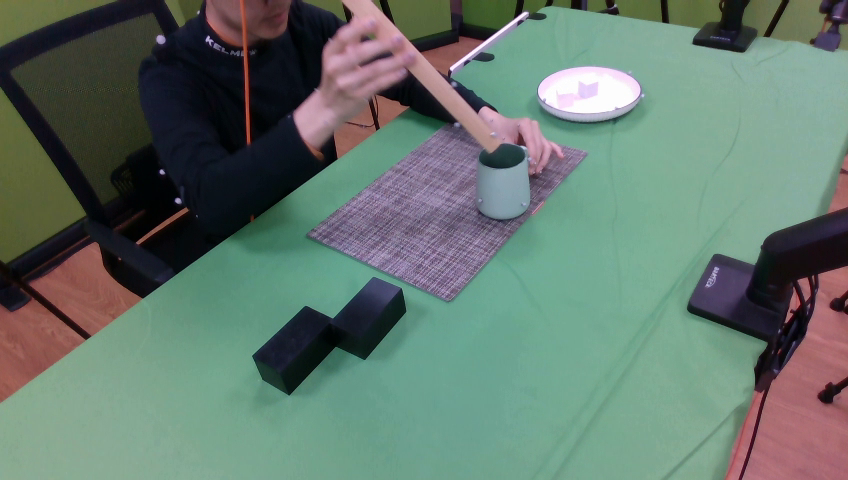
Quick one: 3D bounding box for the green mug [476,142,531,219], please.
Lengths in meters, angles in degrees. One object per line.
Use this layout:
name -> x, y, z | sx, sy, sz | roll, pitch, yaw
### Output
green mug -> 0.139, -0.106, 1.003 | 0.092, 0.105, 0.125 | 21, 48, 30

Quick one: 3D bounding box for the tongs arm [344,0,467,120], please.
tongs arm -> -0.054, -0.283, 0.814 | 0.027, 0.391, 0.028 | -39, 44, 13

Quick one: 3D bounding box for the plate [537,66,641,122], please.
plate -> 0.338, -0.299, 1.255 | 0.209, 0.038, 0.208 | -4, 41, 4

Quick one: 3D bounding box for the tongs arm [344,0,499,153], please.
tongs arm -> -0.032, -0.246, 0.759 | 0.026, 0.388, 0.050 | -42, 34, 11
